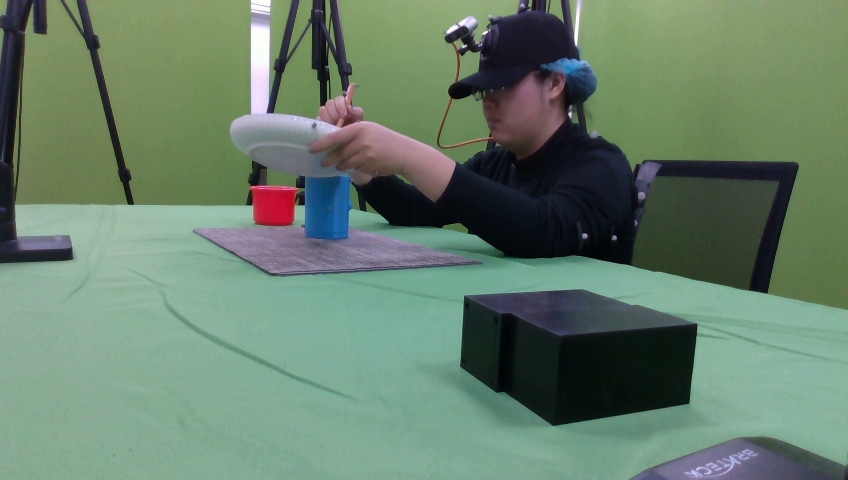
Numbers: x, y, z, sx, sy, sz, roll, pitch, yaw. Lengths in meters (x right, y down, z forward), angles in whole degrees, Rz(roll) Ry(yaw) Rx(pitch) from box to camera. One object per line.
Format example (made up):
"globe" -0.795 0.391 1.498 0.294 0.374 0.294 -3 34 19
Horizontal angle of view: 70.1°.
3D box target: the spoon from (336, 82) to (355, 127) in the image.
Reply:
"spoon" -0.151 -0.218 1.087 0.041 0.022 0.193 -4 49 21

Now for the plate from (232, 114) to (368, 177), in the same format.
"plate" -0.193 -0.137 0.939 0.208 0.039 0.208 6 -11 1

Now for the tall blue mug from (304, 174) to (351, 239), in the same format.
"tall blue mug" -0.178 -0.062 1.062 0.078 0.108 0.106 -5 11 -38
